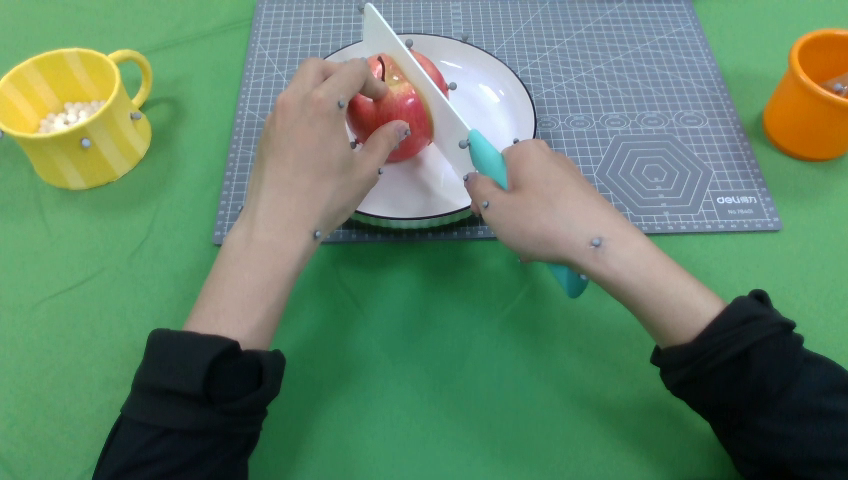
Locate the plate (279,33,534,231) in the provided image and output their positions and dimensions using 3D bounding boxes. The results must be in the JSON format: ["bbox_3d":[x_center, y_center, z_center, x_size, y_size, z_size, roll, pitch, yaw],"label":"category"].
[{"bbox_3d":[-0.014,-0.091,0.509,0.209,0.038,0.207,0,58,0],"label":"plate"}]

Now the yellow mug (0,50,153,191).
[{"bbox_3d":[-0.281,-0.110,0.507,0.099,0.064,0.130,29,61,17],"label":"yellow mug"}]

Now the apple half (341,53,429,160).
[{"bbox_3d":[-0.038,-0.099,0.483,0.053,0.075,0.080,-31,68,-12],"label":"apple half"}]

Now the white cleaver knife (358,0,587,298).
[{"bbox_3d":[0.025,-0.073,0.449,0.021,0.066,0.284,-28,67,-16],"label":"white cleaver knife"}]

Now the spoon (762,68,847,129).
[{"bbox_3d":[0.370,-0.148,0.482,0.022,0.194,0.041,25,45,-37],"label":"spoon"}]

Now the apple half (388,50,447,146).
[{"bbox_3d":[-0.002,-0.119,0.495,0.033,0.082,0.080,-29,62,-19],"label":"apple half"}]
